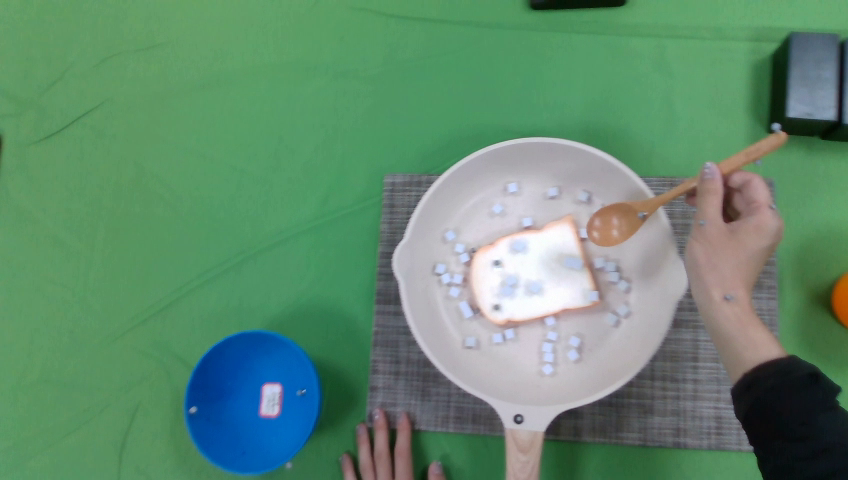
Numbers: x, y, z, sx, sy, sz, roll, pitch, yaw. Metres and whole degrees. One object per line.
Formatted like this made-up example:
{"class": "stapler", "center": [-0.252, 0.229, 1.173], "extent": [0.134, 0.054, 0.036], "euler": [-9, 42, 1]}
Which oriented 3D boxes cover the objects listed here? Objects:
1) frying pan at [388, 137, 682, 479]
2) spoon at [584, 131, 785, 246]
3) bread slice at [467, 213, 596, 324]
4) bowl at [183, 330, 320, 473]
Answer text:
{"class": "frying pan", "center": [0.105, 0.133, 0.637], "extent": [0.306, 0.103, 0.485], "euler": [4, 73, 9]}
{"class": "spoon", "center": [0.234, -0.046, 0.561], "extent": [0.193, 0.022, 0.041], "euler": [-32, 77, 39]}
{"class": "bread slice", "center": [0.117, 0.041, 0.691], "extent": [0.134, 0.018, 0.106], "euler": [-19, 79, 1]}
{"class": "bowl", "center": [-0.182, 0.178, 0.683], "extent": [0.151, 0.077, 0.151], "euler": [-1, 81, 7]}
